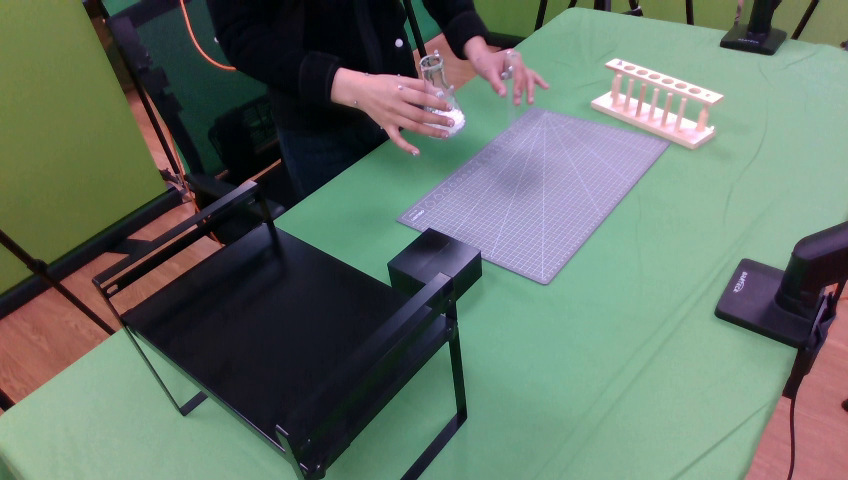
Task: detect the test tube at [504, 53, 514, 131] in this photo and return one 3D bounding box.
[{"bbox_3d":[0.149,-0.255,1.059,0.017,0.151,0.017,-4,45,4],"label":"test tube"}]

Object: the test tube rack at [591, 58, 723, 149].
[{"bbox_3d":[0.442,-0.269,1.171,0.067,0.085,0.240,-30,46,-24],"label":"test tube rack"}]

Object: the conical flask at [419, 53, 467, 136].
[{"bbox_3d":[0.022,-0.226,0.935,0.075,0.122,0.075,-7,49,8],"label":"conical flask"}]
